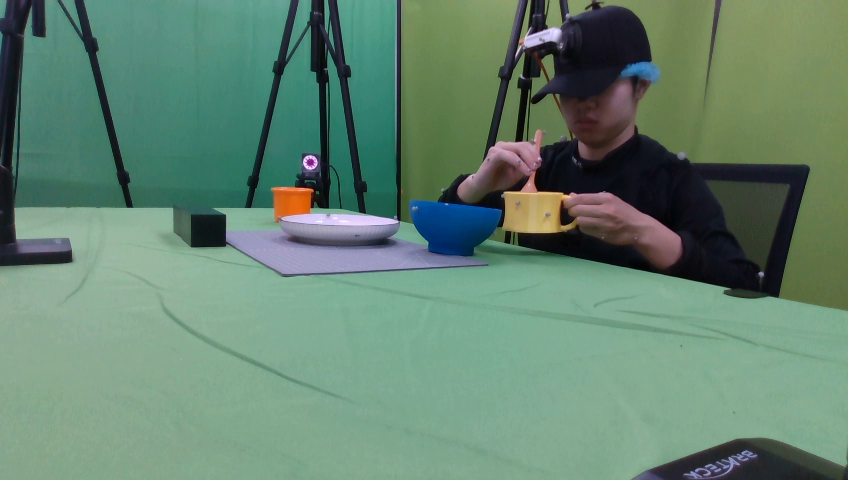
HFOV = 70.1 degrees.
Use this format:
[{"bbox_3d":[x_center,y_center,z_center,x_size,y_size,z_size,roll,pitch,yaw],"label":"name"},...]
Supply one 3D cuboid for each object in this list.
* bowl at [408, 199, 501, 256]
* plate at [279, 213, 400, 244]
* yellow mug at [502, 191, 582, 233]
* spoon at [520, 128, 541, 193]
[{"bbox_3d":[0.045,-0.019,0.967,0.151,0.077,0.151,6,5,0],"label":"bowl"},{"bbox_3d":[-0.147,-0.020,1.060,0.209,0.038,0.209,3,7,0],"label":"plate"},{"bbox_3d":[0.197,-0.047,1.008,0.130,0.064,0.100,4,6,17],"label":"yellow mug"},{"bbox_3d":[0.183,-0.118,1.032,0.041,0.193,0.022,-1,-38,22],"label":"spoon"}]
